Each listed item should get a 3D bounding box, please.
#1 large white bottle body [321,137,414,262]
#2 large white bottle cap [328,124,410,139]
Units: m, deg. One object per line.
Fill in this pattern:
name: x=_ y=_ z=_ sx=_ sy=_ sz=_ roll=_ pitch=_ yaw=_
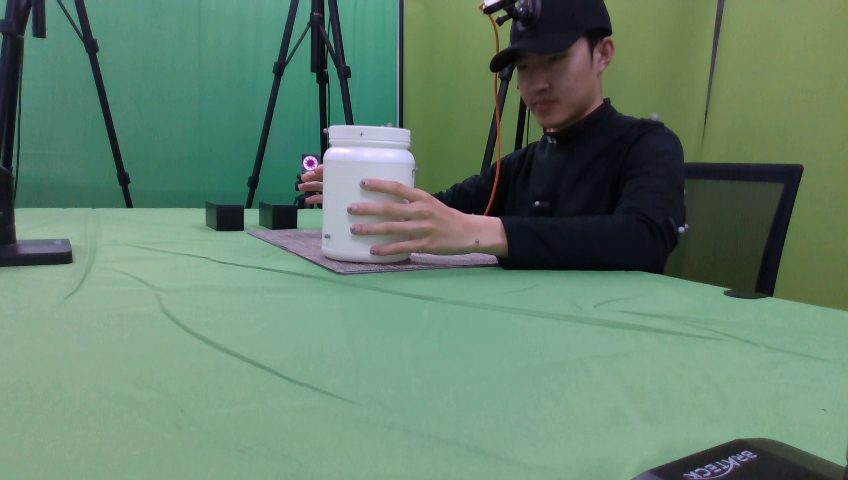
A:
large white bottle body: x=-0.080 y=-0.068 z=0.863 sx=0.131 sy=0.184 sz=0.130 roll=2 pitch=8 yaw=0
large white bottle cap: x=-0.077 y=-0.151 z=0.851 sx=0.115 sy=0.018 sz=0.115 roll=2 pitch=8 yaw=0
